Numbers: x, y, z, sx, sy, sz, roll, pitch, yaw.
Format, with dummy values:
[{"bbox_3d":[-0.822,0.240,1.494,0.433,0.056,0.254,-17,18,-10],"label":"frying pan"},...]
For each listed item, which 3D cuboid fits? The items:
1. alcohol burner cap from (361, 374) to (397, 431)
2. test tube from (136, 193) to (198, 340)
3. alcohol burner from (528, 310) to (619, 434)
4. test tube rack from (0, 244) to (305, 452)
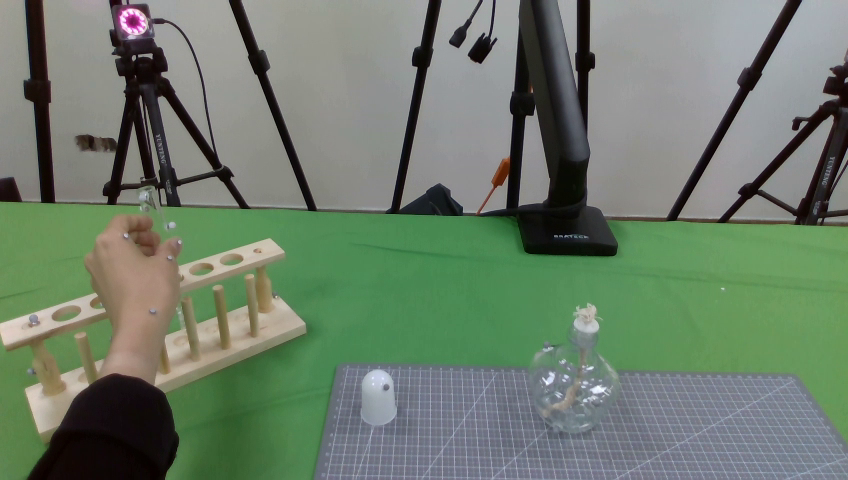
[{"bbox_3d":[-0.039,0.138,0.526,0.034,0.048,0.033,1,31,0],"label":"alcohol burner cap"},{"bbox_3d":[-0.234,0.028,0.556,0.017,0.151,0.017,-5,26,3],"label":"test tube"},{"bbox_3d":[0.129,0.106,0.515,0.078,0.120,0.077,2,32,-1],"label":"alcohol burner"},{"bbox_3d":[-0.237,0.089,0.564,0.243,0.086,0.066,-21,37,-33],"label":"test tube rack"}]
